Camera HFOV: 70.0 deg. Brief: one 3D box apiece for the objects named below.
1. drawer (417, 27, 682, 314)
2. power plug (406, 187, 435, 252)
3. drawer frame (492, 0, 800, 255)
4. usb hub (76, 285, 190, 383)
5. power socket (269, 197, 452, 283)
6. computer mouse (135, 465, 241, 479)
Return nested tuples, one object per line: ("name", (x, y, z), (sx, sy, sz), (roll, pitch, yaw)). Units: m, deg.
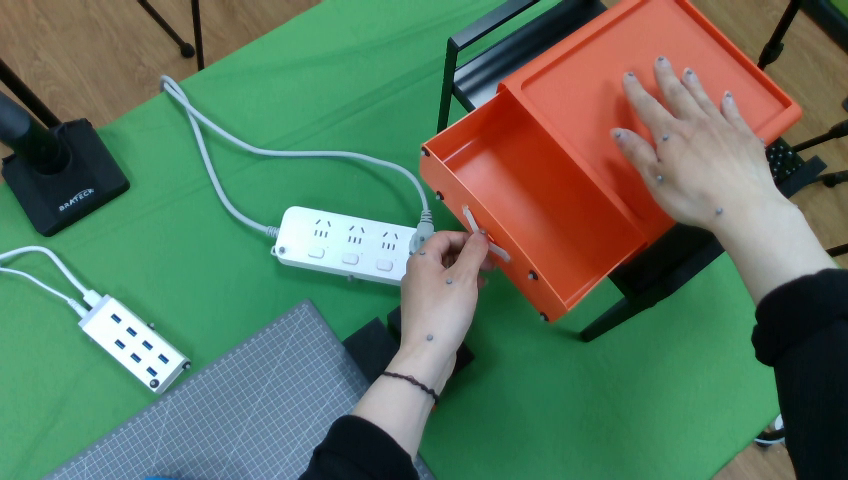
("drawer", (0.132, -0.070, 0.567), (0.211, 0.073, 0.193), (-37, 78, -13))
("power plug", (0.003, -0.020, 0.738), (0.035, 0.053, 0.072), (22, 71, 5))
("drawer frame", (0.205, -0.128, 0.588), (0.213, 0.083, 0.200), (-37, 78, -14))
("usb hub", (-0.337, 0.109, 0.702), (0.125, 0.025, 0.049), (37, 75, 8))
("power socket", (-0.077, 0.000, 0.746), (0.227, 0.033, 0.072), (11, 72, 0))
("computer mouse", (-0.256, 0.277, 0.645), (0.117, 0.041, 0.062), (5, 74, 2))
